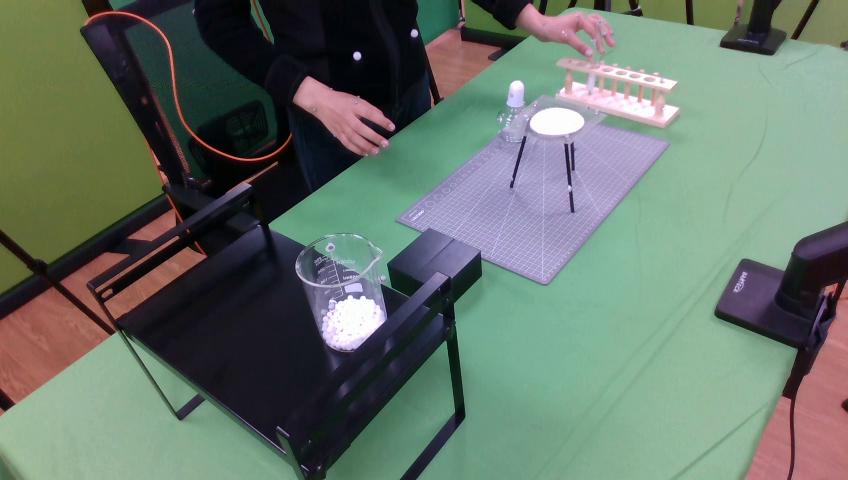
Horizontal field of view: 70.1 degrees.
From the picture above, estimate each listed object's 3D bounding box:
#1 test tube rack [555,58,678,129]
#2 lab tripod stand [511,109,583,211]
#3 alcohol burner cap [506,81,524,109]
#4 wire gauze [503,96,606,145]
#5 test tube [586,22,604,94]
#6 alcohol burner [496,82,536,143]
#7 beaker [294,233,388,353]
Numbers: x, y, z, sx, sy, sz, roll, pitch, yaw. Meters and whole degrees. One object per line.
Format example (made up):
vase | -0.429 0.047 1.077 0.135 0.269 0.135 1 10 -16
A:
test tube rack | 0.390 -0.307 1.229 0.240 0.085 0.067 25 51 33
lab tripod stand | 0.220 -0.138 1.014 0.148 0.132 0.147 -3 41 3
alcohol burner cap | 0.173 -0.277 1.144 0.034 0.048 0.033 0 39 1
wire gauze | 0.211 -0.192 0.975 0.120 0.011 0.125 24 49 32
test tube | 0.338 -0.358 1.202 0.017 0.151 0.017 -2 43 2
alcohol burner | 0.178 -0.250 1.168 0.078 0.119 0.077 -5 42 5
beaker | -0.073 0.053 0.585 0.084 0.101 0.073 -13 41 -6
